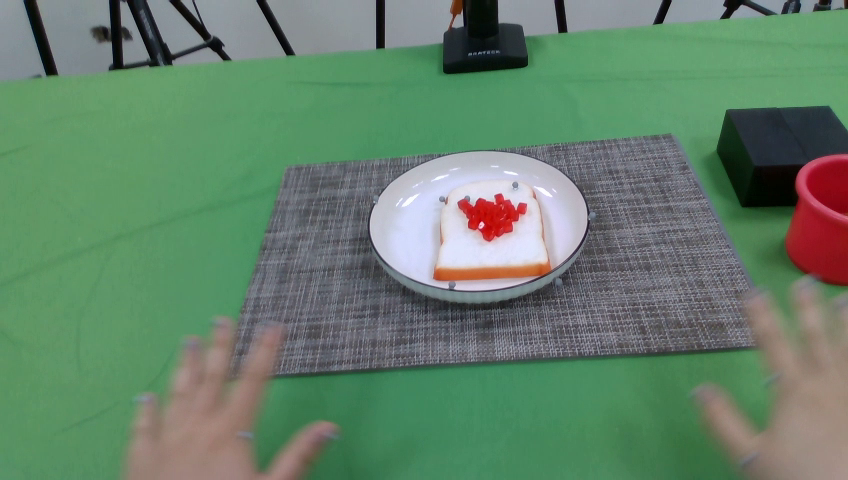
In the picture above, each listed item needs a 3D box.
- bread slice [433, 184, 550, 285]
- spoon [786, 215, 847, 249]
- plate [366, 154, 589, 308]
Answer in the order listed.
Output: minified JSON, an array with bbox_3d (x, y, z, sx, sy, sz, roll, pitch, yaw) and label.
[{"bbox_3d":[0.062,-0.009,0.583,0.105,0.019,0.130,-2,43,5],"label":"bread slice"},{"bbox_3d":[0.387,-0.029,0.475,0.022,0.193,0.041,47,53,-10],"label":"spoon"},{"bbox_3d":[0.049,-0.009,0.582,0.209,0.038,0.207,-5,42,5],"label":"plate"}]
